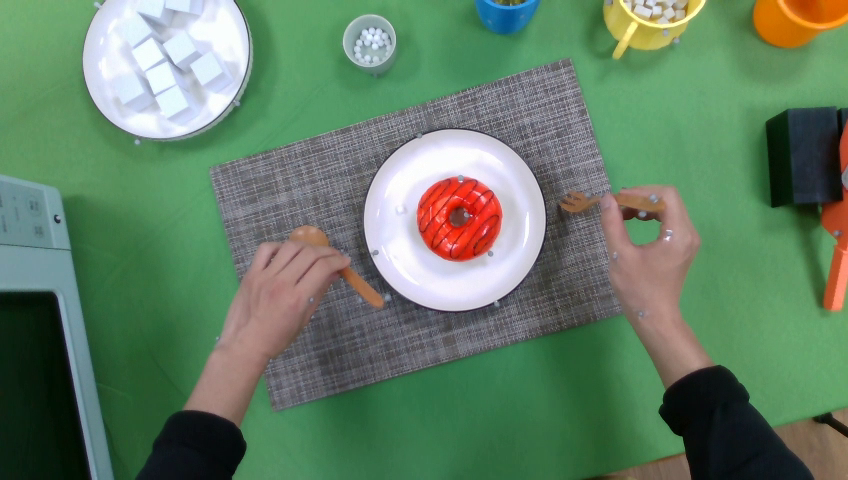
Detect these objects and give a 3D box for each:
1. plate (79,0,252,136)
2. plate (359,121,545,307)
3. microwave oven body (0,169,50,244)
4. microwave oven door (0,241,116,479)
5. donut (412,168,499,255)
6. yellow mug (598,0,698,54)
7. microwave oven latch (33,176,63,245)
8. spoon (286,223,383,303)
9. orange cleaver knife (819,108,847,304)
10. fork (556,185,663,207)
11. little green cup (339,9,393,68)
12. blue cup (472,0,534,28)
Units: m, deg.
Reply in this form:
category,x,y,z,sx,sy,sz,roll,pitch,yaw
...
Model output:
category,x,y,z,sx,sy,sz,roll,pitch,yaw
plate,-0.305,-0.225,0.727,0.207,0.039,0.207,0,87,5
plate,0.032,-0.029,0.689,0.209,0.038,0.209,0,88,5
microwave oven body,-0.560,0.167,0.615,0.326,0.260,0.441,-14,87,3
microwave oven door,-0.409,0.174,0.597,0.039,0.244,0.355,-14,86,4
donut,0.035,-0.031,0.677,0.099,0.048,0.099,0,88,6
yellow mug,0.242,-0.265,0.672,0.100,0.064,0.131,32,91,5
microwave oven latch,-0.449,-0.034,0.712,0.030,0.029,0.079,-10,87,3
spoon,-0.099,0.021,0.649,0.042,0.191,0.022,-23,121,-26
orange cleaver knife,0.438,-0.034,0.639,0.012,0.076,0.213,-1,117,7
fork,0.177,-0.043,0.598,0.028,0.206,0.019,-42,98,-2
little green cup,-0.065,-0.233,0.709,0.061,0.039,0.061,0,87,5
blue cup,0.087,-0.281,0.668,0.092,0.100,0.092,0,89,4
